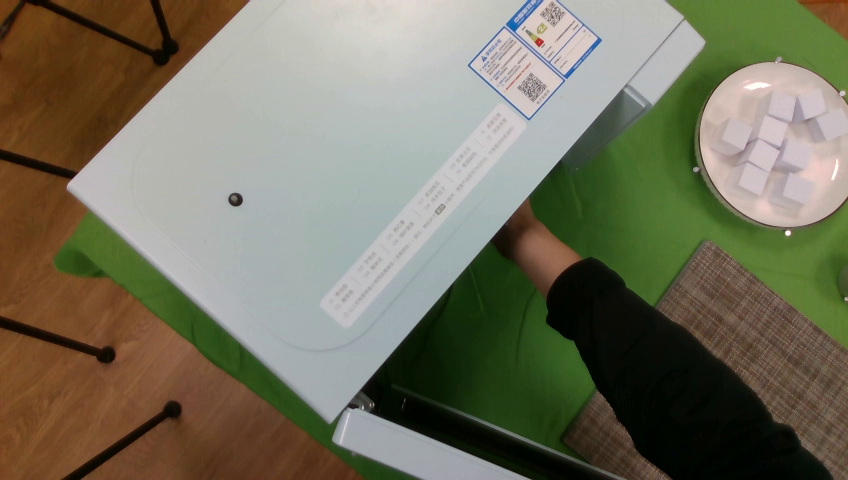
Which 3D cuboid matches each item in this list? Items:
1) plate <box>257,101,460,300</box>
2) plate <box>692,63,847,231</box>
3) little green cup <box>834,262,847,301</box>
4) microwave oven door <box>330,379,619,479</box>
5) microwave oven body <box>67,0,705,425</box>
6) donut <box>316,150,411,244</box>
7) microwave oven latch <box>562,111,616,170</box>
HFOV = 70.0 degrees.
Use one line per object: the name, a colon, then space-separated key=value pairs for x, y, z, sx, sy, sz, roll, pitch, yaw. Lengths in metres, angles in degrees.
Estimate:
plate: x=-0.067 y=-0.041 z=0.636 sx=0.209 sy=0.038 sz=0.208 roll=0 pitch=84 yaw=-2
plate: x=0.427 y=-0.111 z=0.745 sx=0.208 sy=0.039 sz=0.207 roll=0 pitch=83 yaw=-3
little green cup: x=0.535 y=0.050 z=0.734 sx=0.061 sy=0.038 sz=0.061 roll=0 pitch=83 yaw=-3
microwave oven door: x=0.092 y=0.219 z=0.566 sx=0.356 sy=0.244 sz=0.039 roll=22 pitch=81 yaw=-1
microwave oven body: x=-0.034 y=-0.098 z=0.599 sx=0.326 sy=0.260 sz=0.441 roll=41 pitch=83 yaw=1
donut: x=-0.062 y=-0.044 z=0.626 sx=0.099 sy=0.048 sz=0.099 roll=0 pitch=84 yaw=-1
microwave oven latch: x=0.189 y=-0.120 z=0.712 sx=0.030 sy=0.029 sz=0.079 roll=44 pitch=84 yaw=2
